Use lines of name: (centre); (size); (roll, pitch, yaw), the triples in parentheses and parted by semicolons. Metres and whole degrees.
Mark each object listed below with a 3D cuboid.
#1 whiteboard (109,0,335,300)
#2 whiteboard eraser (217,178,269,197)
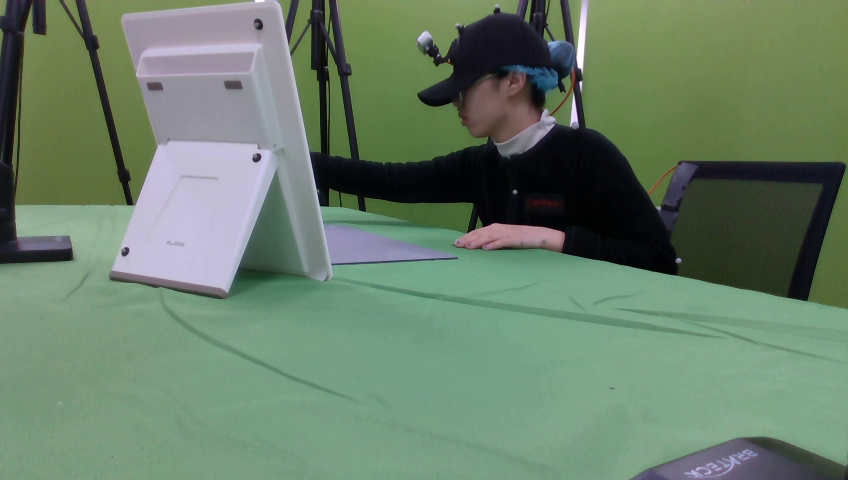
whiteboard: (-0.247, -0.072, 0.624); (0.216, 0.305, 0.144); (6, 28, 26)
whiteboard eraser: (-0.388, -0.113, 1.304); (0.055, 0.042, 0.113); (3, 7, 20)
